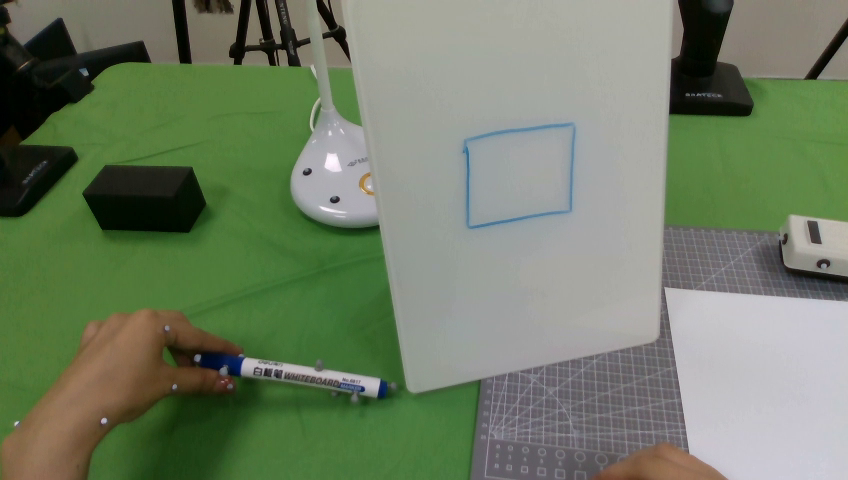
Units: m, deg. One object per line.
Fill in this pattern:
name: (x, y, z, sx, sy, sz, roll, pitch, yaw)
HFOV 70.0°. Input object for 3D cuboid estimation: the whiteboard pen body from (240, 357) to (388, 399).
whiteboard pen body: (-0.098, 0.108, 0.483, 0.141, 0.017, 0.017, 10, 43, -2)

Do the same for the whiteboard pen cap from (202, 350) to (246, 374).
whiteboard pen cap: (-0.156, 0.096, 0.479, 0.033, 0.018, 0.018, 6, 43, -4)

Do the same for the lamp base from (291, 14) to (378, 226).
lamp base: (-0.082, -0.133, 0.638, 0.161, 0.182, 0.177, -30, 47, -26)

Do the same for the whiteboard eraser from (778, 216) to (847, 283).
whiteboard eraser: (0.384, 0.014, 0.546, 0.112, 0.042, 0.055, 9, 43, 14)

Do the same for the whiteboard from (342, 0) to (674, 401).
whiteboard: (0.064, -0.055, 0.496, 0.217, 0.307, 0.142, -10, 24, -6)
